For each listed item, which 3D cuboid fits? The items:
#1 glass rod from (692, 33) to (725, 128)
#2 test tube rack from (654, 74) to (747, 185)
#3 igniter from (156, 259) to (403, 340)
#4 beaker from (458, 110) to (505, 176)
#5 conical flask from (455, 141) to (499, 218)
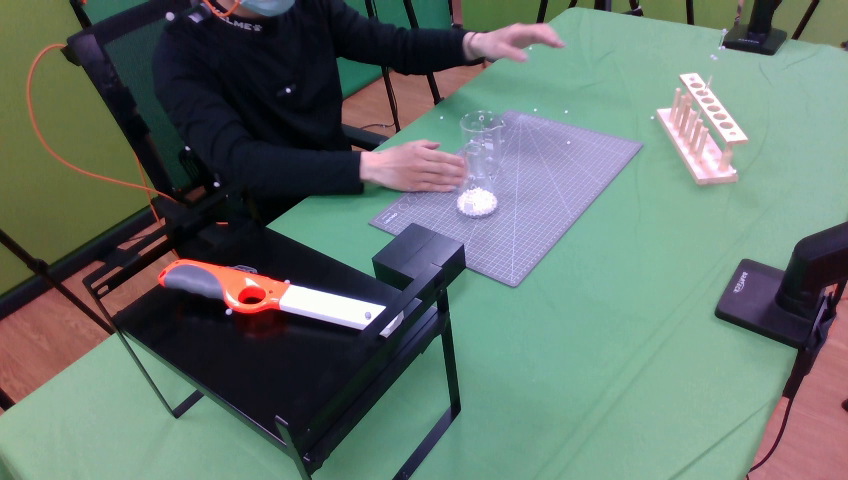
[{"bbox_3d":[0.501,-0.277,1.073,0.008,0.200,0.008,-3,50,4],"label":"glass rod"},{"bbox_3d":[0.491,-0.205,1.092,0.067,0.085,0.241,-5,40,3],"label":"test tube rack"},{"bbox_3d":[-0.157,0.059,0.637,0.275,0.025,0.057,11,43,14],"label":"igniter"},{"bbox_3d":[0.106,-0.174,1.097,0.084,0.101,0.074,5,42,13],"label":"beaker"},{"bbox_3d":[0.085,-0.103,0.999,0.075,0.122,0.075,-4,40,4],"label":"conical flask"}]
